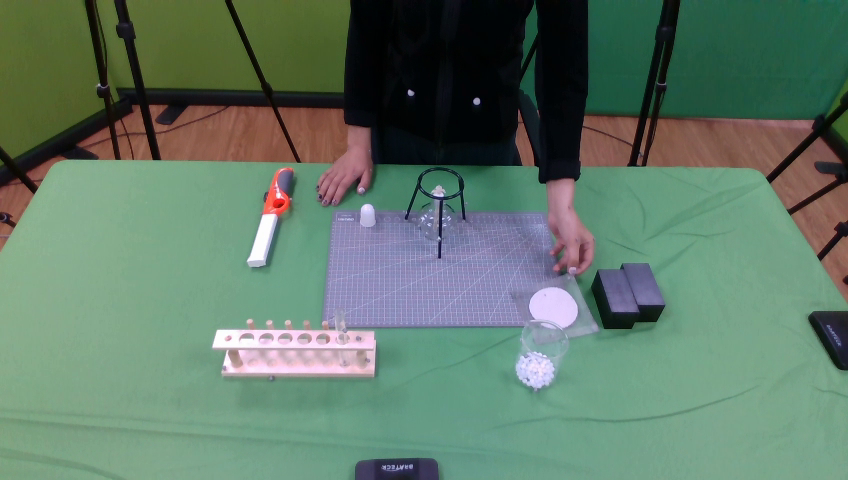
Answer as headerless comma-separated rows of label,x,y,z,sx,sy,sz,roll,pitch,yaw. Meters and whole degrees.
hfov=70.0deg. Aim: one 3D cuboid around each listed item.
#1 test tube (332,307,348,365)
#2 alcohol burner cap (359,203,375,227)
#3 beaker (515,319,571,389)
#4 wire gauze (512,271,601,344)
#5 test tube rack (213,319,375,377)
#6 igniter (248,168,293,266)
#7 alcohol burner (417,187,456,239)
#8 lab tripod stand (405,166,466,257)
test tube,-0.128,0.151,0.931,0.017,0.151,0.017,1,50,-2
alcohol burner cap,-0.115,-0.053,1.224,0.034,0.048,0.033,3,47,-3
beaker,0.186,0.186,0.980,0.074,0.101,0.083,-23,51,-24
wire gauze,0.238,0.122,1.096,0.125,0.011,0.120,-15,57,-6
test tube rack,-0.202,0.170,0.977,0.242,0.085,0.066,1,46,-3
igniter,-0.307,-0.055,1.225,0.057,0.025,0.275,-3,46,6
alcohol burner,0.025,-0.059,1.189,0.078,0.120,0.077,1,48,-1
lab tripod stand,0.030,-0.063,1.180,0.148,0.132,0.147,3,47,-3
